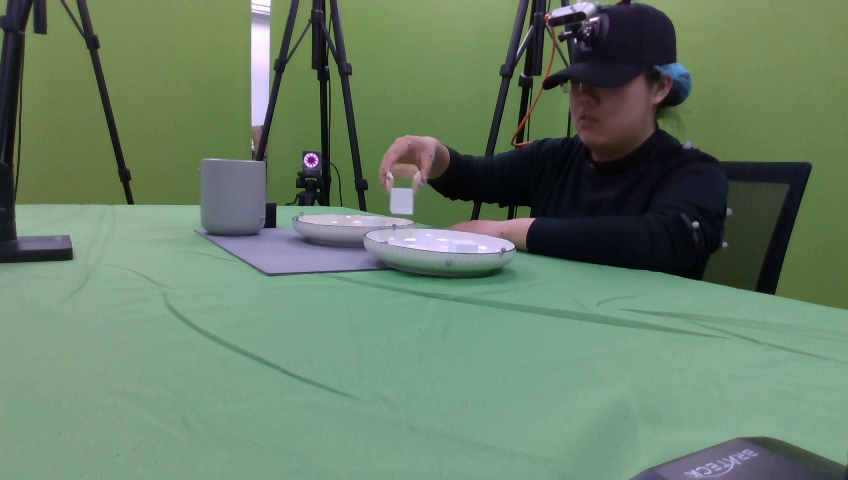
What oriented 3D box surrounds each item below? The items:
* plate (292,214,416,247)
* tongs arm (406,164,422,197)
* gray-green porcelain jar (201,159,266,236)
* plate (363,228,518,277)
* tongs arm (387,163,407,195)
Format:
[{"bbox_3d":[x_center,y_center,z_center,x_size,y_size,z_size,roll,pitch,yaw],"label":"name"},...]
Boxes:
[{"bbox_3d":[-0.118,-0.017,1.024,0.208,0.039,0.207,3,7,0],"label":"plate"},{"bbox_3d":[-0.018,-0.108,1.046,0.028,0.028,0.387,-1,10,-1],"label":"tongs arm"},{"bbox_3d":[-0.326,-0.073,1.036,0.106,0.126,0.106,3,8,0],"label":"gray-green porcelain jar"},{"bbox_3d":[0.022,0.016,0.817,0.209,0.038,0.209,4,9,0],"label":"plate"},{"bbox_3d":[-0.041,-0.109,1.045,0.051,0.026,0.384,2,10,-6],"label":"tongs arm"}]
